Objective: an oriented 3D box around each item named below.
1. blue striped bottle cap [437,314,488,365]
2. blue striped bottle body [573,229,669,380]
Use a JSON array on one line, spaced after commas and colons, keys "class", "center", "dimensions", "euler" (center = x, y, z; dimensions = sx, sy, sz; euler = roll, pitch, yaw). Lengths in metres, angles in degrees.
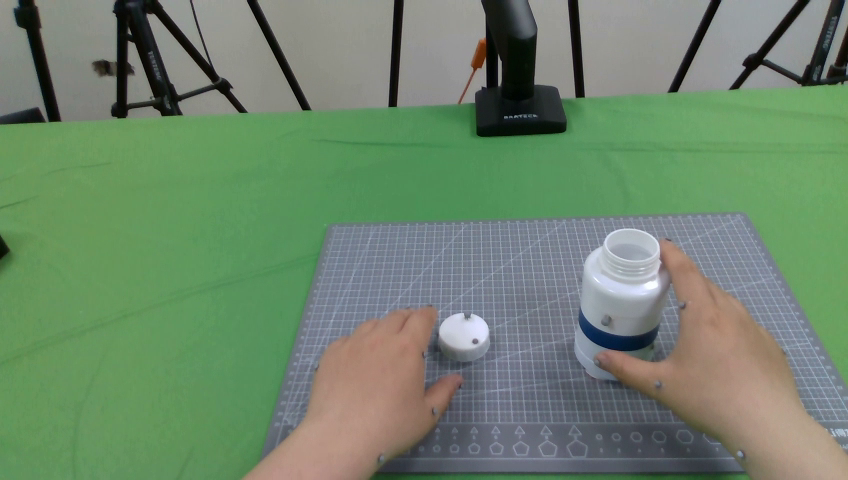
[{"class": "blue striped bottle cap", "center": [0.033, 0.086, 0.526], "dimensions": [0.044, 0.021, 0.044], "euler": [-2, 38, 2]}, {"class": "blue striped bottle body", "center": [0.153, 0.049, 0.473], "dimensions": [0.063, 0.122, 0.062], "euler": [-3, 40, 3]}]
